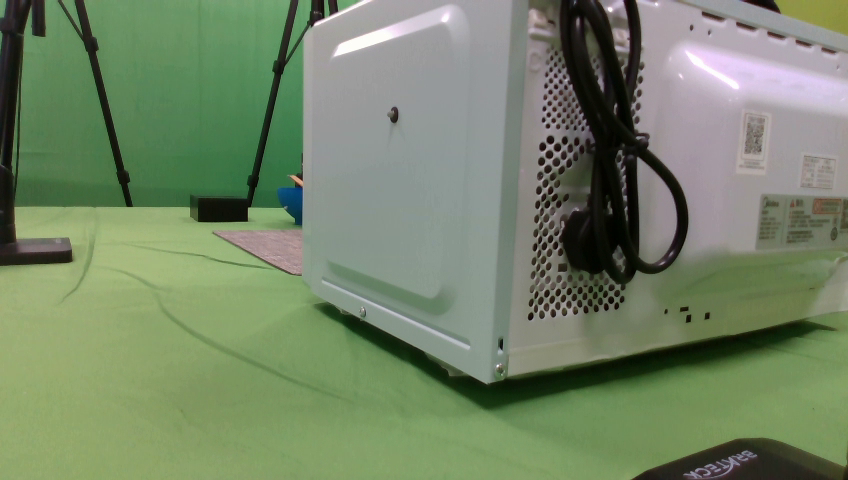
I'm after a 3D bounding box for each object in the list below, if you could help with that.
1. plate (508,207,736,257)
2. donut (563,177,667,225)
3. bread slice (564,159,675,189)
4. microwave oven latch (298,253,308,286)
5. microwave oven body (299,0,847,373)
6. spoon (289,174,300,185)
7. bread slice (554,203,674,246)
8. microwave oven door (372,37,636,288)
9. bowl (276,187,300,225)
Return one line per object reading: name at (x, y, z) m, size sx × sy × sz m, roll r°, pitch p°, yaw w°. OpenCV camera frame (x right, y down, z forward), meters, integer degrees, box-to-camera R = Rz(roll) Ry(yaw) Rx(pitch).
plate at (0.186, -0.010, 0.588) m, size 0.208 × 0.039 × 0.207 m, roll 1°, pitch 5°, yaw 0°
donut at (0.184, -0.038, 0.587) m, size 0.099 × 0.048 × 0.099 m, roll -2°, pitch 3°, yaw 0°
bread slice at (0.187, -0.063, 0.577) m, size 0.104 × 0.019 × 0.132 m, roll 8°, pitch 6°, yaw 16°
microwave oven latch at (-0.081, 0.028, 0.582) m, size 0.079 × 0.029 × 0.030 m, roll -2°, pitch 7°, yaw -33°
microwave oven body at (0.152, -0.055, 0.542) m, size 0.444 × 0.260 × 0.324 m, roll -2°, pitch 7°, yaw -33°
spoon at (-0.261, -0.111, 1.343) m, size 0.042 × 0.021 × 0.192 m, roll -8°, pitch 34°, yaw -30°
bread slice at (0.183, -0.016, 0.579) m, size 0.107 × 0.018 × 0.134 m, roll -5°, pitch 10°, yaw 9°
microwave oven door at (0.110, -0.080, 0.686) m, size 0.358 × 0.243 × 0.039 m, roll -2°, pitch 9°, yaw -33°
bowl at (-0.241, -0.073, 1.302) m, size 0.151 × 0.077 × 0.151 m, roll 2°, pitch 7°, yaw 0°
